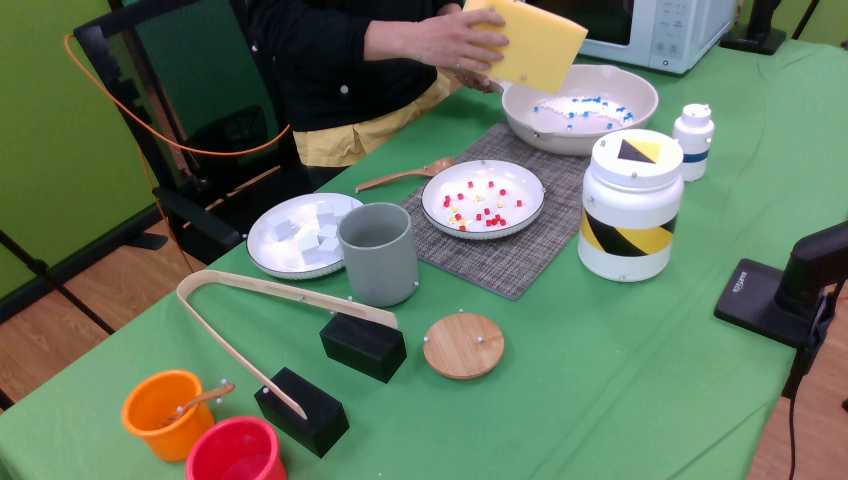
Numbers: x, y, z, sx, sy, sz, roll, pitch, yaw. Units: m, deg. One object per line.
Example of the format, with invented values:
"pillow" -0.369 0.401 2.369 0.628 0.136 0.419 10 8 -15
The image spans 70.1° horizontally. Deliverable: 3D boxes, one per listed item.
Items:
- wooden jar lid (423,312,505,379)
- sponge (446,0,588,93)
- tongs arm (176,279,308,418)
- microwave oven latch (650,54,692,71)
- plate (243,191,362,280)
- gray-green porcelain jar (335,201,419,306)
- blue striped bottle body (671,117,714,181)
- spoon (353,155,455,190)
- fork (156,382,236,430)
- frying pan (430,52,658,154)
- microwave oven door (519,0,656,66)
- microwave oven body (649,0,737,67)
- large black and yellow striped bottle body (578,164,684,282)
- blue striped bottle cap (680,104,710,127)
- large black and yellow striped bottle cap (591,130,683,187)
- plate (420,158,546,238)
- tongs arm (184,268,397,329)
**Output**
"wooden jar lid" 0.053 0.142 0.800 0.108 0.021 0.108 -5 39 4
"sponge" 0.156 -0.333 1.012 0.208 0.118 0.060 7 31 -29
"tongs arm" -0.255 0.132 0.801 0.028 0.028 0.384 -41 40 -23
"microwave oven latch" 0.531 -0.386 1.301 0.078 0.029 0.030 24 50 32
"plate" -0.188 -0.005 0.992 0.207 0.039 0.206 -4 41 4
"gray-green porcelain jar" -0.064 0.024 0.872 0.106 0.127 0.105 -4 41 4
"blue striped bottle body" 0.449 -0.165 1.022 0.063 0.121 0.063 -5 41 4
"spoon" -0.038 -0.123 1.116 0.194 0.022 0.041 -12 58 -4
"fork" -0.262 0.189 0.690 0.018 0.206 0.028 49 43 -7
"frying pan" 0.216 -0.302 1.224 0.484 0.103 0.308 29 49 24
"microwave oven door" 0.351 -0.539 1.349 0.353 0.245 0.039 24 50 31
"microwave oven body" 0.475 -0.602 1.411 0.438 0.261 0.327 23 50 32
"large black and yellow striped bottle body" 0.291 -0.046 0.859 0.131 0.185 0.130 -4 41 4
"blue striped bottle cap" 0.443 -0.205 0.989 0.044 0.021 0.044 -1 41 2
"large black and yellow striped bottle cap" 0.282 -0.111 0.803 0.115 0.019 0.114 -3 41 3
"plate" 0.099 -0.067 1.017 0.209 0.038 0.208 -4 40 4
"tongs arm" -0.202 0.084 0.848 0.382 0.027 0.051 11 44 35
